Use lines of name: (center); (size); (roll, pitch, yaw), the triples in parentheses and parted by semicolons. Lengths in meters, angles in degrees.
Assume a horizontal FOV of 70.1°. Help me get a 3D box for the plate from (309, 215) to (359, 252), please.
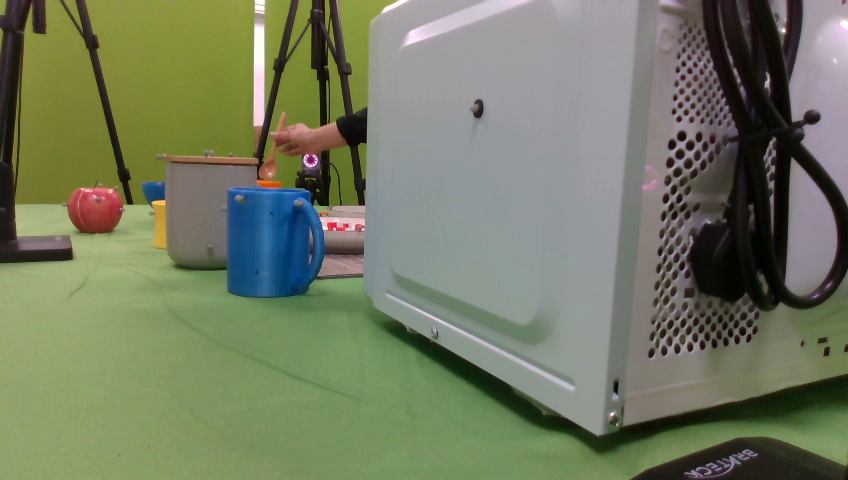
plate: (-0.130, -0.011, 0.945); (0.208, 0.039, 0.207); (2, 8, 0)

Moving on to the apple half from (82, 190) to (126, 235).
apple half: (-0.517, -0.046, 0.994); (0.032, 0.081, 0.081); (0, 6, 26)

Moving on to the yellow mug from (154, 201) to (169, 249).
yellow mug: (-0.338, -0.022, 0.899); (0.130, 0.064, 0.100); (8, 9, 34)

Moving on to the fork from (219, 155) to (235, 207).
fork: (-0.459, -0.134, 1.415); (0.028, 0.018, 0.207); (-1, -34, -25)

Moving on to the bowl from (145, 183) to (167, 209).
bowl: (-0.459, -0.068, 1.175); (0.151, 0.077, 0.151); (2, 7, 0)

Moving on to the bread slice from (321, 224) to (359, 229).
bread slice: (-0.125, -0.010, 0.938); (0.131, 0.019, 0.105); (7, 9, 31)

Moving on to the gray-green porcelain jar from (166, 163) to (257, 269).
gray-green porcelain jar: (-0.263, -0.031, 0.754); (0.106, 0.126, 0.106); (2, 7, 0)

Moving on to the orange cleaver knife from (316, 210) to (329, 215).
orange cleaver knife: (-0.259, -0.064, 1.423); (0.212, 0.012, 0.077); (-4, 3, -30)

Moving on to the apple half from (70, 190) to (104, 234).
apple half: (-0.552, -0.047, 1.009); (0.053, 0.074, 0.081); (-1, 9, 26)

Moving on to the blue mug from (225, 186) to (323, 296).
blue mug: (-0.148, 0.000, 0.618); (0.116, 0.106, 0.083); (7, 9, 33)

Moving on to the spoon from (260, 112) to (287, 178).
spoon: (-0.379, -0.244, 1.551); (0.041, 0.193, 0.021); (10, -14, 8)

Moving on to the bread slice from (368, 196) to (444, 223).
bread slice: (-0.040, -0.057, 1.141); (0.107, 0.018, 0.133); (-8, -8, -40)

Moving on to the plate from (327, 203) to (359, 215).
plate: (-0.102, -0.053, 1.299); (0.209, 0.038, 0.209); (2, 8, 0)

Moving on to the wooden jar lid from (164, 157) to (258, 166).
wooden jar lid: (-0.261, -0.093, 0.746); (0.108, 0.020, 0.108); (0, 9, 0)

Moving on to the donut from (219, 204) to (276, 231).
donut: (-0.316, -0.039, 1.083); (0.099, 0.048, 0.099); (2, 7, 0)

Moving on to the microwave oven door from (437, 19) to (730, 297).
microwave oven door: (0.180, -0.076, 0.618); (0.358, 0.243, 0.039); (-2, 9, -28)

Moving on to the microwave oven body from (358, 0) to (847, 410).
microwave oven body: (0.210, -0.051, 0.471); (0.444, 0.260, 0.324); (-1, 7, -28)

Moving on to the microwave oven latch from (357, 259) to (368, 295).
microwave oven latch: (-0.019, 0.031, 0.529); (0.079, 0.029, 0.030); (-1, 7, -26)
